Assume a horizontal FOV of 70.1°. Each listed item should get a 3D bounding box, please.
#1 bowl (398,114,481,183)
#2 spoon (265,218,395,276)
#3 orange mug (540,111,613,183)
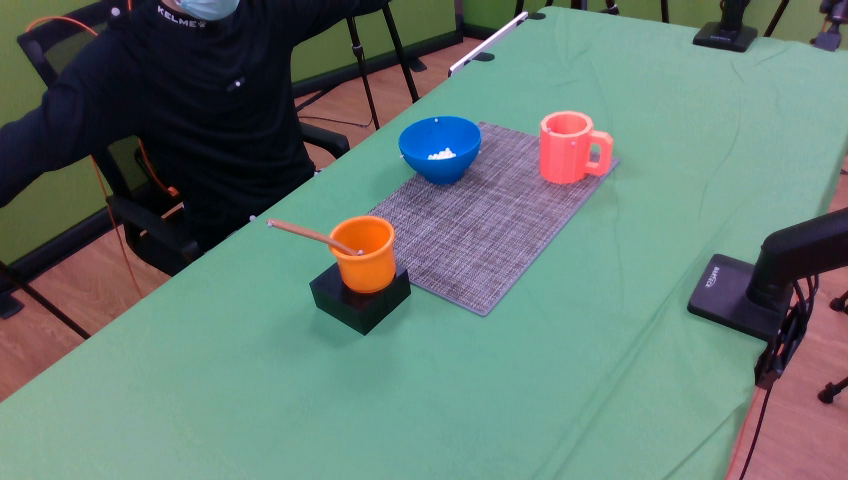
[{"bbox_3d":[0.031,-0.156,1.097,0.151,0.077,0.150,-4,41,4],"label":"bowl"},{"bbox_3d":[-0.120,0.007,0.803,0.021,0.195,0.041,-44,37,25],"label":"spoon"},{"bbox_3d":[0.263,-0.159,1.052,0.125,0.101,0.083,13,45,28],"label":"orange mug"}]
